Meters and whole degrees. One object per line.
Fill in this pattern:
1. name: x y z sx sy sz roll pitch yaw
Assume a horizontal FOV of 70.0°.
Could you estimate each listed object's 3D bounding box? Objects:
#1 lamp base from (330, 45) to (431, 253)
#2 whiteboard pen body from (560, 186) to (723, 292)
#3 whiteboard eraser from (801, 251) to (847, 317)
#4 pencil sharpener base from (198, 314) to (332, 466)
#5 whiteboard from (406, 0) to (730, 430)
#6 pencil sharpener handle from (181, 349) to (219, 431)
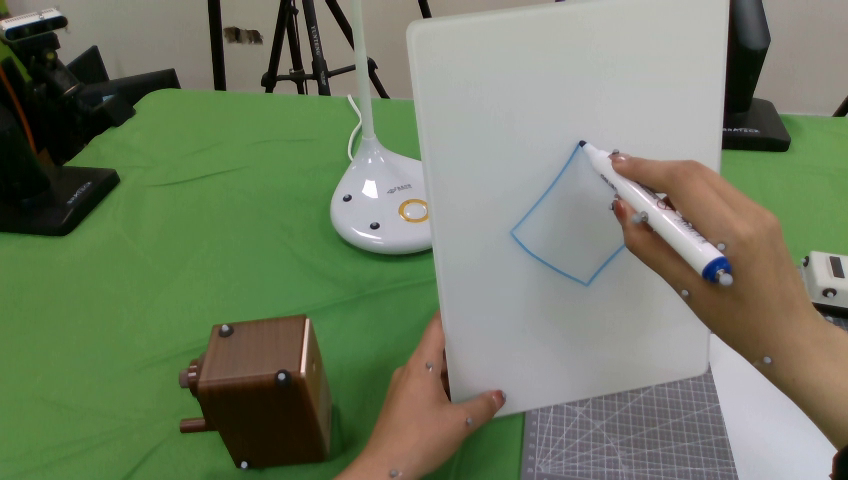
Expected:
1. lamp base: -0.039 -0.105 0.647 0.161 0.182 0.177 -28 43 -26
2. whiteboard pen body: 0.123 -0.008 0.371 0.017 0.017 0.139 -19 33 -17
3. whiteboard eraser: 0.402 0.046 0.539 0.112 0.042 0.055 11 43 17
4. pencil sharpener base: -0.115 0.114 0.450 0.077 0.108 0.060 -6 41 -2
5. whiteboard: 0.103 -0.032 0.498 0.217 0.307 0.142 -9 21 -5
6. pencil sharpener handle: -0.166 0.111 0.437 0.030 0.068 0.035 -6 28 -2
